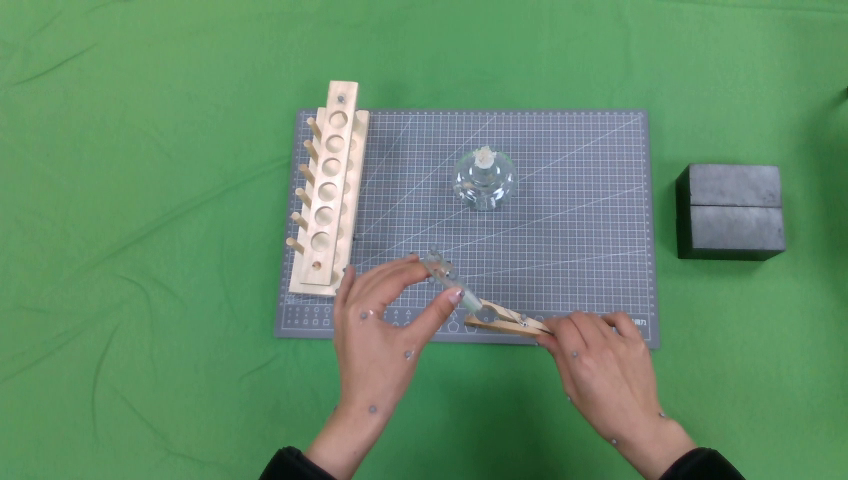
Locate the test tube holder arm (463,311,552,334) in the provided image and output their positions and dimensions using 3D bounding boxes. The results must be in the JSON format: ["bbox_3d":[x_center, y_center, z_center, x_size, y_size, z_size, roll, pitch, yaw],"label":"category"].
[{"bbox_3d":[0.083,0.081,0.598,0.087,0.015,0.010,6,72,9],"label":"test tube holder arm"}]

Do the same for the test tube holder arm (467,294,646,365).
[{"bbox_3d":[0.127,0.086,0.591,0.178,0.015,0.013,17,75,12],"label":"test tube holder arm"}]

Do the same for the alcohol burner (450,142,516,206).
[{"bbox_3d":[0.067,-0.081,0.697,0.078,0.119,0.077,-1,77,5],"label":"alcohol burner"}]

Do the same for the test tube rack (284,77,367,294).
[{"bbox_3d":[-0.121,-0.064,0.719,0.067,0.085,0.241,5,76,5],"label":"test tube rack"}]

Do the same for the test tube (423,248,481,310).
[{"bbox_3d":[0.027,0.037,0.514,0.017,0.151,0.017,-5,70,16],"label":"test tube"}]
